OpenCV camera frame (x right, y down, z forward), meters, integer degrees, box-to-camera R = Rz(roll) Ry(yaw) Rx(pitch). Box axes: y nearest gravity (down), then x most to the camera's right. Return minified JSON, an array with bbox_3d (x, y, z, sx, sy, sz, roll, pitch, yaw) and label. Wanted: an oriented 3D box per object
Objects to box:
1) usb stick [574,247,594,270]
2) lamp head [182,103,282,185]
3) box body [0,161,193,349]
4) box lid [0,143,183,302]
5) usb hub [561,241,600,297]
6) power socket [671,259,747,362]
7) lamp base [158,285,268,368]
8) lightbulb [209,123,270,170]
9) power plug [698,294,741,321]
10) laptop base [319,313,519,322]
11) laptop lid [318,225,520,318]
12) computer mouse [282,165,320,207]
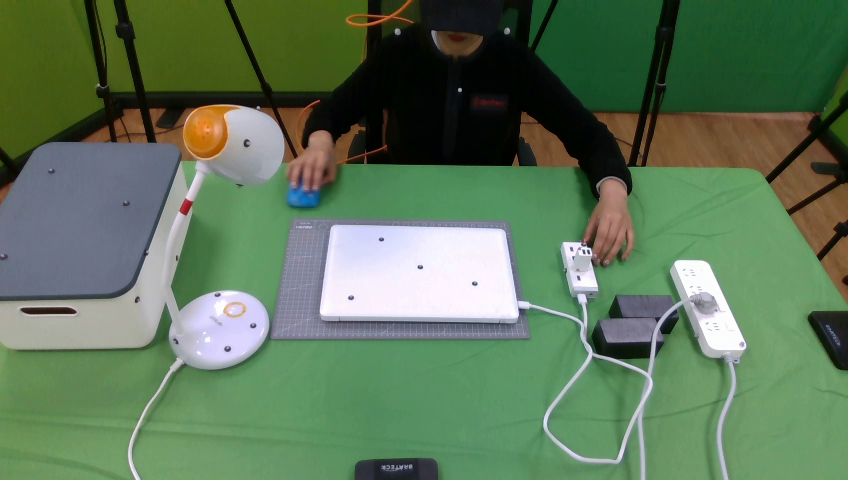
[{"bbox_3d":[0.298,0.040,1.136,0.027,0.059,0.021,1,46,-4],"label":"usb stick"},{"bbox_3d":[-0.271,-0.133,0.825,0.112,0.112,0.123,20,8,15],"label":"lamp head"},{"bbox_3d":[-0.570,0.006,1.054,0.254,0.161,0.361,-1,46,-4],"label":"box body"},{"bbox_3d":[-0.567,-0.045,0.999,0.263,0.015,0.369,-1,46,-4],"label":"box lid"},{"bbox_3d":[0.300,0.055,1.162,0.049,0.025,0.124,2,46,-3],"label":"usb hub"},{"bbox_3d":[0.516,0.119,1.108,0.072,0.033,0.225,0,46,-2],"label":"power socket"},{"bbox_3d":[-0.348,0.102,0.963,0.160,0.181,0.178,23,51,18],"label":"lamp base"},{"bbox_3d":[-0.260,-0.136,0.847,0.059,0.108,0.059,-4,78,20],"label":"lightbulb"},{"bbox_3d":[0.515,0.127,1.070,0.035,0.053,0.072,-18,56,-7],"label":"power plug"},{"bbox_3d":[-0.009,0.062,1.137,0.354,0.023,0.234,1,42,-3],"label":"laptop base"},{"bbox_3d":[-0.009,0.052,1.130,0.357,0.013,0.240,2,43,-2],"label":"laptop lid"},{"bbox_3d":[-0.260,-0.118,1.284,0.063,0.041,0.116,6,49,-2],"label":"computer mouse"}]
